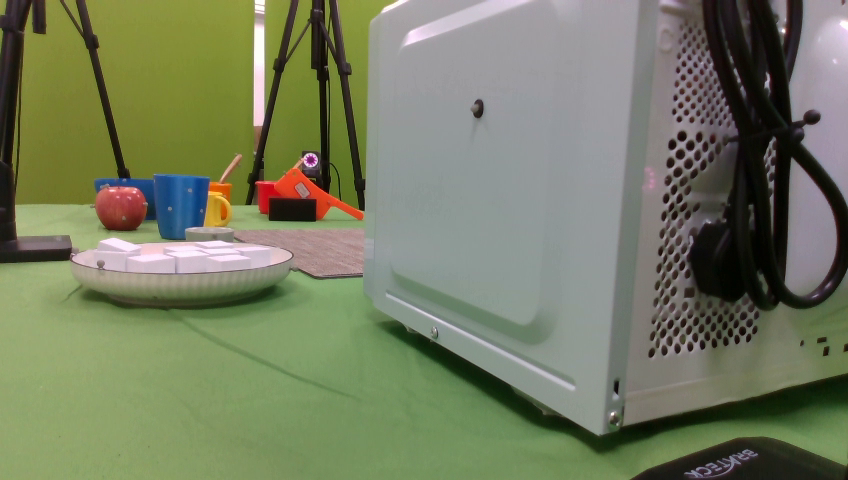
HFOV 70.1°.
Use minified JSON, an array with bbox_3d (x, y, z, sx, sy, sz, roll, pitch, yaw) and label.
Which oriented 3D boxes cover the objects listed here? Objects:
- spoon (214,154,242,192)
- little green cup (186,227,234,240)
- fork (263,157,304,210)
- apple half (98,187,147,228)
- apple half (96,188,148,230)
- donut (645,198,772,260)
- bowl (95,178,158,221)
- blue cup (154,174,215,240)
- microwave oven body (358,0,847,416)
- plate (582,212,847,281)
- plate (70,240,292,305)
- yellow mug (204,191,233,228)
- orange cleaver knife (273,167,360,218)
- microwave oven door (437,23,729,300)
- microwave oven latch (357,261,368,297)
[{"bbox_3d":[-0.439,-0.124,1.318,0.041,0.193,0.022,5,-37,16],"label":"spoon"},{"bbox_3d":[-0.285,0.005,0.805,0.061,0.038,0.061,2,8,0],"label":"little green cup"},{"bbox_3d":[-0.345,-0.143,1.505,0.028,0.019,0.207,-3,46,28],"label":"fork"},{"bbox_3d":[-0.534,-0.059,1.071,0.082,0.081,0.032,-1,11,-25],"label":"apple half"},{"bbox_3d":[-0.517,-0.052,1.036,0.081,0.074,0.053,2,10,-26],"label":"apple half"},{"bbox_3d":[0.239,-0.008,0.513,0.099,0.048,0.099,10,1,0],"label":"donut"},{"bbox_3d":[-0.576,-0.081,1.217,0.151,0.077,0.151,3,8,0],"label":"bowl"},{"bbox_3d":[-0.391,-0.053,0.978,0.093,0.100,0.092,4,6,0],"label":"blue cup"},{"bbox_3d":[0.211,-0.047,0.474,0.444,0.260,0.324,-1,7,-28],"label":"microwave oven body"},{"bbox_3d":[0.239,0.002,0.510,0.209,0.038,0.209,2,7,0],"label":"plate"},{"bbox_3d":[-0.242,0.031,0.618,0.208,0.039,0.207,2,8,0],"label":"plate"},{"bbox_3d":[-0.415,-0.057,1.131,0.130,0.064,0.100,6,8,16],"label":"yellow mug"},{"bbox_3d":[-0.238,-0.091,1.381,0.212,0.077,0.012,31,0,-19],"label":"orange cleaver knife"},{"bbox_3d":[0.181,-0.072,0.621,0.358,0.243,0.039,-2,9,-29],"label":"microwave oven door"},{"bbox_3d":[-0.019,0.033,0.530,0.079,0.029,0.030,-1,7,-27],"label":"microwave oven latch"}]
